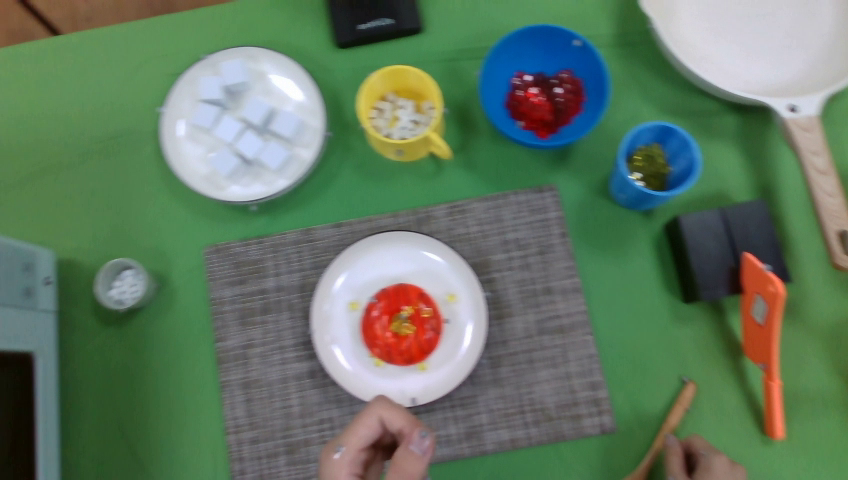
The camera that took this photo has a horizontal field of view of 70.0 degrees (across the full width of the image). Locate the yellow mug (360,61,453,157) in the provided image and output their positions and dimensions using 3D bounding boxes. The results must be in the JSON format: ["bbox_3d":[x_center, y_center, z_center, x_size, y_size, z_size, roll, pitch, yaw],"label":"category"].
[{"bbox_3d":[-0.013,-0.150,0.746,0.130,0.064,0.100,42,84,8],"label":"yellow mug"}]

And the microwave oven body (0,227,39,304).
[{"bbox_3d":[-0.599,0.208,0.603,0.326,0.261,0.439,-7,80,1],"label":"microwave oven body"}]

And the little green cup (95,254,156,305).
[{"bbox_3d":[-0.361,0.049,0.738,0.061,0.039,0.061,0,81,1],"label":"little green cup"}]

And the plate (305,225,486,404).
[{"bbox_3d":[-0.033,0.087,0.714,0.209,0.038,0.208,0,80,3],"label":"plate"}]

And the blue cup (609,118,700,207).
[{"bbox_3d":[0.257,-0.080,0.703,0.092,0.100,0.092,-1,77,3],"label":"blue cup"}]

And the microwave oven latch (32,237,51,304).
[{"bbox_3d":[-0.467,0.037,0.727,0.030,0.029,0.079,-5,80,1],"label":"microwave oven latch"}]

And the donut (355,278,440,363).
[{"bbox_3d":[-0.030,0.093,0.701,0.099,0.048,0.099,0,83,3],"label":"donut"}]

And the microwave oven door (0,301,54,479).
[{"bbox_3d":[-0.450,0.232,0.587,0.039,0.245,0.354,-7,79,1],"label":"microwave oven door"}]

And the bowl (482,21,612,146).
[{"bbox_3d":[0.144,-0.178,0.738,0.151,0.077,0.151,0,80,3],"label":"bowl"}]

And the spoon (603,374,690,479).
[{"bbox_3d":[0.251,0.233,0.686,0.041,0.022,0.193,33,82,20],"label":"spoon"}]

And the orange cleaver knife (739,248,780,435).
[{"bbox_3d":[0.371,0.114,0.673,0.012,0.076,0.212,-11,108,1],"label":"orange cleaver knife"}]

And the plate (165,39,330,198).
[{"bbox_3d":[-0.220,-0.151,0.770,0.207,0.039,0.207,0,80,3],"label":"plate"}]

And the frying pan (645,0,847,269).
[{"bbox_3d":[0.426,-0.200,0.716,0.307,0.103,0.484,-5,71,3],"label":"frying pan"}]
